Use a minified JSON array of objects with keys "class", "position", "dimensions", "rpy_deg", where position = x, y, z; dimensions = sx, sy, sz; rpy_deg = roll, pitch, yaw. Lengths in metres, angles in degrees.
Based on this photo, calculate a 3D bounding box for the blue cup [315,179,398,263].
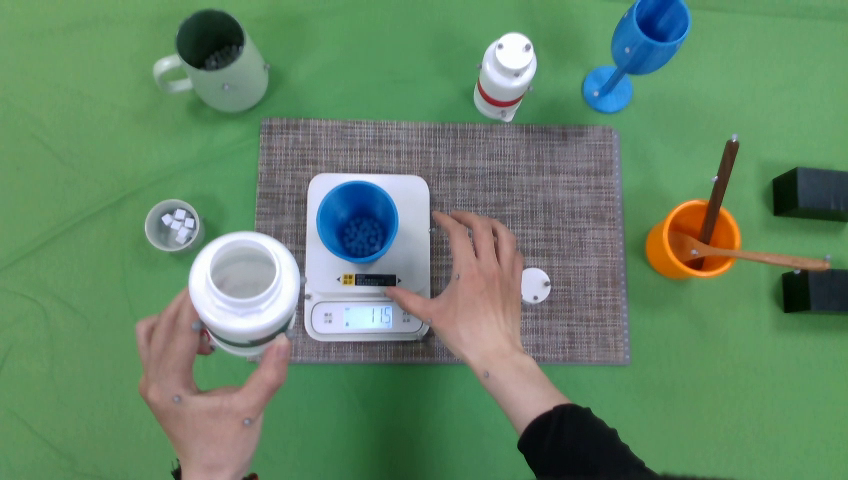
[{"class":"blue cup","position":[-0.070,-0.013,0.664],"dimensions":[0.093,0.100,0.092],"rpy_deg":[0,81,-2]}]

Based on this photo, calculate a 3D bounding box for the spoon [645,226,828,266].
[{"class":"spoon","position":[0.349,0.012,0.694],"dimensions":[0.022,0.192,0.041],"rpy_deg":[18,84,-44]}]

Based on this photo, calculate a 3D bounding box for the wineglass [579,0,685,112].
[{"class":"wineglass","position":[0.239,-0.216,0.716],"dimensions":[0.074,0.173,0.073],"rpy_deg":[0,79,-2]}]

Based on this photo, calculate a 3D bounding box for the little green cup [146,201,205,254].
[{"class":"little green cup","position":[-0.292,-0.012,0.718],"dimensions":[0.061,0.039,0.061],"rpy_deg":[1,79,-4]}]

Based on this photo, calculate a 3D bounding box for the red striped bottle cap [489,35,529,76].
[{"class":"red striped bottle cap","position":[0.096,-0.208,0.680],"dimensions":[0.044,0.018,0.044],"rpy_deg":[1,77,-2]}]

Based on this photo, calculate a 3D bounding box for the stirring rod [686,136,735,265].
[{"class":"stirring rod","position":[0.330,-0.040,0.702],"dimensions":[0.014,0.178,0.006],"rpy_deg":[7,38,12]}]

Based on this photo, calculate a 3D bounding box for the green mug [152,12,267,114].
[{"class":"green mug","position":[-0.257,-0.202,0.722],"dimensions":[0.125,0.105,0.092],"rpy_deg":[-21,81,-6]}]

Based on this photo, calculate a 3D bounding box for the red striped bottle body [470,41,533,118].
[{"class":"red striped bottle body","position":[0.094,-0.198,0.733],"dimensions":[0.063,0.120,0.063],"rpy_deg":[1,79,-3]}]

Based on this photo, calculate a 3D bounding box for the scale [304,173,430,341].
[{"class":"scale","position":[-0.068,0.018,0.725],"dimensions":[0.149,0.031,0.200],"rpy_deg":[0,80,-3]}]

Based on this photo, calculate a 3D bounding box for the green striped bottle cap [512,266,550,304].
[{"class":"green striped bottle cap","position":[0.130,0.054,0.739],"dimensions":[0.044,0.020,0.044],"rpy_deg":[0,77,-1]}]

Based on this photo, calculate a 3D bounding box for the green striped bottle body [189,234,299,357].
[{"class":"green striped bottle body","position":[-0.113,0.036,0.390],"dimensions":[0.063,0.119,0.063],"rpy_deg":[4,70,-12]}]
